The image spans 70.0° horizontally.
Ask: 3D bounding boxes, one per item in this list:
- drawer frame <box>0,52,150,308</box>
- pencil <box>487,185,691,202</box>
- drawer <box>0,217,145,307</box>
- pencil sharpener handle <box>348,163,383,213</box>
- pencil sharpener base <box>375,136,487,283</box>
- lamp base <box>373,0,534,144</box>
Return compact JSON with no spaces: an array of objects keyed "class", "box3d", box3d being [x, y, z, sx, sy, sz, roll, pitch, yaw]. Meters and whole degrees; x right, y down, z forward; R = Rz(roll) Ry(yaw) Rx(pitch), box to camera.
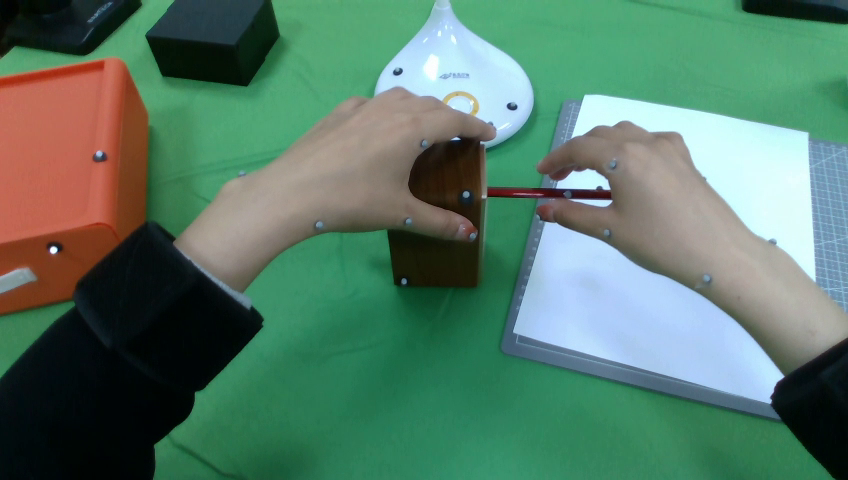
[{"class":"drawer frame","box3d":[-0.342,-0.048,0.502,0.202,0.083,0.211,-14,51,-8]},{"class":"pencil","box3d":[0.091,-0.035,0.431,0.194,0.012,0.012,1,51,0]},{"class":"drawer","box3d":[-0.339,-0.046,0.501,0.195,0.074,0.209,-13,51,-8]},{"class":"pencil sharpener handle","box3d":[-0.045,-0.033,0.448,0.030,0.068,0.036,0,75,2]},{"class":"pencil sharpener base","box3d":[0.006,-0.020,0.453,0.077,0.108,0.061,0,52,2]},{"class":"lamp base","box3d":[0.024,-0.207,0.556,0.161,0.182,0.177,-12,50,-8]}]
